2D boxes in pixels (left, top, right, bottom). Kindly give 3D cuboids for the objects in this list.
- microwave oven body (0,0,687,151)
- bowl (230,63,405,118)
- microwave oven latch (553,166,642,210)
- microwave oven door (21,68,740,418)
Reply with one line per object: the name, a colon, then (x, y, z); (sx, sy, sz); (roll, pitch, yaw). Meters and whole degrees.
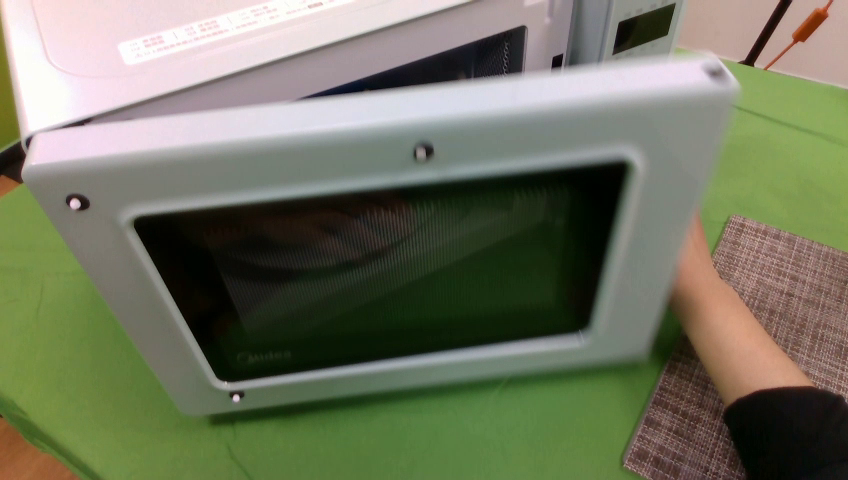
microwave oven body: (-0.068, -0.127, 0.537); (0.442, 0.262, 0.322); (-25, 50, -18)
bowl: (-0.082, -0.070, 0.515); (0.151, 0.077, 0.150); (-1, 57, 2)
microwave oven latch: (0.166, -0.049, 0.583); (0.079, 0.030, 0.030); (-4, 48, 0)
microwave oven door: (-0.012, 0.019, 0.386); (0.356, 0.246, 0.039); (-7, 46, -3)
